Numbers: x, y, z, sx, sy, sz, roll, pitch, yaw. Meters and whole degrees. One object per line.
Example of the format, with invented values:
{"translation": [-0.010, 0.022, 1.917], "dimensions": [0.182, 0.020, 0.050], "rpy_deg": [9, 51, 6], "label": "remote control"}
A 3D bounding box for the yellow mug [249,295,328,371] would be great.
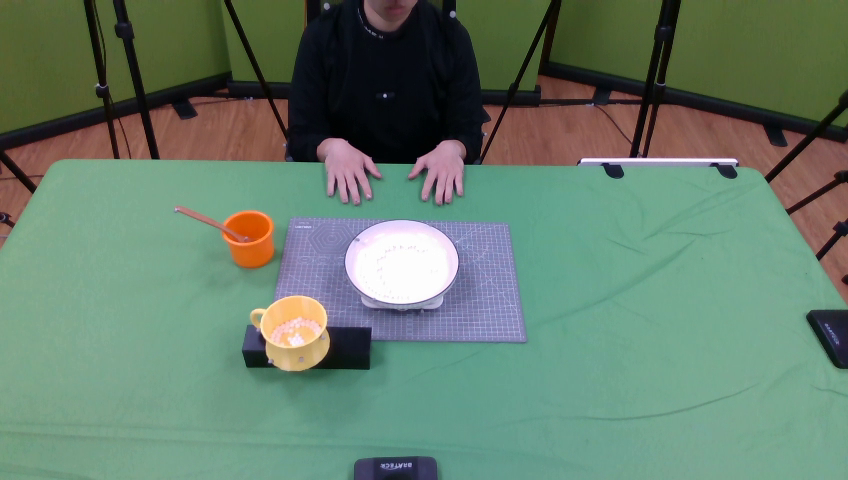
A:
{"translation": [-0.216, 0.139, 0.946], "dimensions": [0.130, 0.064, 0.099], "rpy_deg": [17, 47, 12], "label": "yellow mug"}

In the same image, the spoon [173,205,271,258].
{"translation": [-0.362, -0.017, 1.098], "dimensions": [0.021, 0.195, 0.041], "rpy_deg": [-32, 42, 27], "label": "spoon"}

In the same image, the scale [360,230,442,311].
{"translation": [-0.042, 0.047, 1.138], "dimensions": [0.149, 0.032, 0.199], "rpy_deg": [2, 46, -3], "label": "scale"}

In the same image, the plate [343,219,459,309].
{"translation": [-0.041, 0.045, 1.094], "dimensions": [0.209, 0.038, 0.208], "rpy_deg": [2, 46, -2], "label": "plate"}
